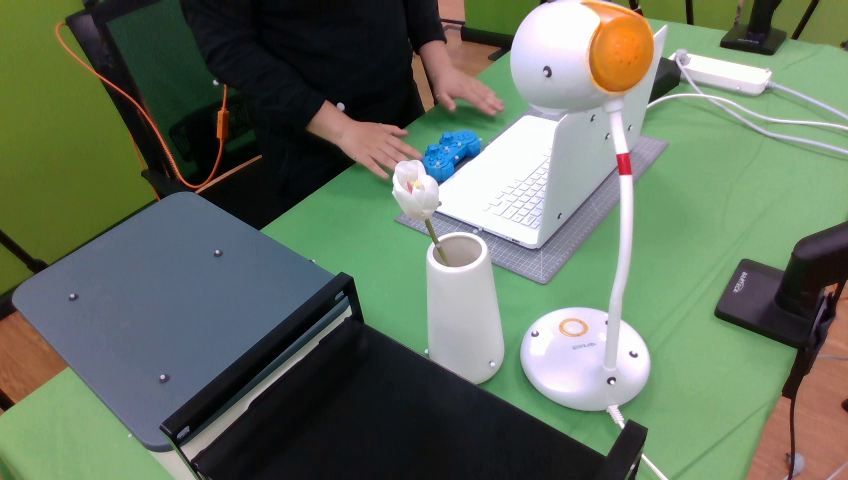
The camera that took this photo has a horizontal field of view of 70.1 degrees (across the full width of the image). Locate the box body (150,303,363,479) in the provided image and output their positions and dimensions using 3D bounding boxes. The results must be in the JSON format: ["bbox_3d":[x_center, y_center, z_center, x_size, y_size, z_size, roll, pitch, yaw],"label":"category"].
[{"bbox_3d":[-0.284,0.123,0.765,0.361,0.161,0.255,25,49,33],"label":"box body"}]

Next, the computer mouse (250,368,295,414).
[{"bbox_3d":[-0.196,0.181,0.771,0.063,0.041,0.116,-12,47,-11],"label":"computer mouse"}]

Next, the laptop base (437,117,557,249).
[{"bbox_3d":[0.192,-0.117,1.087,0.233,0.023,0.355,21,47,34],"label":"laptop base"}]

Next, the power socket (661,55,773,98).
[{"bbox_3d":[0.619,-0.352,1.289,0.225,0.033,0.072,26,51,33],"label":"power socket"}]

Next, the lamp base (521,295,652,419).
[{"bbox_3d":[0.200,0.095,0.710,0.161,0.181,0.177,-16,43,-10],"label":"lamp base"}]

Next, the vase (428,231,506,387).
[{"bbox_3d":[0.050,0.087,0.728,0.098,0.201,0.097,-3,40,3],"label":"vase"}]

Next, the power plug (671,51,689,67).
[{"bbox_3d":[0.541,-0.378,1.301,0.073,0.053,0.035,-34,46,-24],"label":"power plug"}]

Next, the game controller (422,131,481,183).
[{"bbox_3d":[0.040,-0.163,1.144,0.096,0.052,0.155,22,49,29],"label":"game controller"}]

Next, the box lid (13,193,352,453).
[{"bbox_3d":[-0.291,0.067,0.716,0.368,0.015,0.264,25,50,33],"label":"box lid"}]

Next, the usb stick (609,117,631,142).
[{"bbox_3d":[0.369,-0.208,1.147,0.021,0.027,0.059,25,55,33],"label":"usb stick"}]

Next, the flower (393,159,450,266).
[{"bbox_3d":[0.028,0.036,0.664,0.043,0.364,0.038,35,73,29],"label":"flower"}]

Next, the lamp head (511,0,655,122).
[{"bbox_3d":[0.155,-0.168,0.563,0.113,0.113,0.122,-18,23,-12],"label":"lamp head"}]

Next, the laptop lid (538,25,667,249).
[{"bbox_3d":[0.281,-0.163,0.942,0.013,0.242,0.358,28,50,27],"label":"laptop lid"}]
